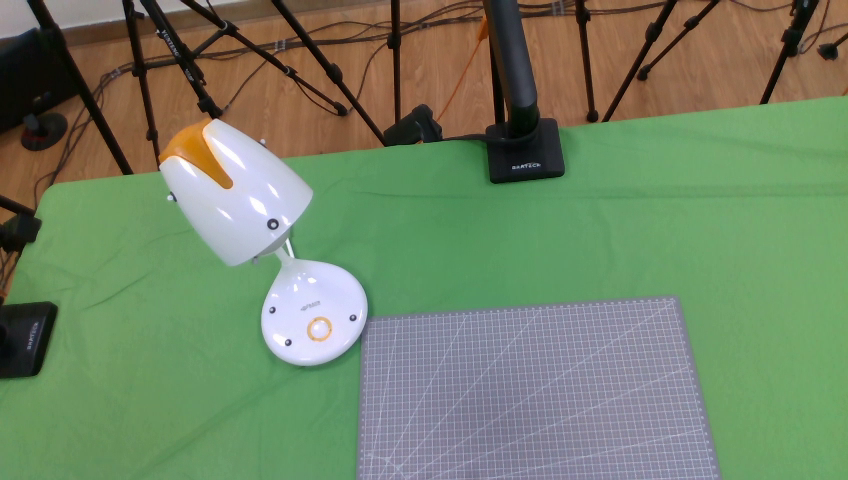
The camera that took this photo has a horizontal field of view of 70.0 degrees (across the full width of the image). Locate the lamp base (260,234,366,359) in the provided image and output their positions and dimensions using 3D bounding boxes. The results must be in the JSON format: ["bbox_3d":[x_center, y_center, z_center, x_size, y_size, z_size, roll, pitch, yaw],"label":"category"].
[{"bbox_3d":[-0.183,0.054,0.837,0.160,0.182,0.177,-31,58,-8],"label":"lamp base"}]

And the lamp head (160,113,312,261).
[{"bbox_3d":[-0.186,-0.059,0.576,0.112,0.124,0.111,-35,21,15],"label":"lamp head"}]
